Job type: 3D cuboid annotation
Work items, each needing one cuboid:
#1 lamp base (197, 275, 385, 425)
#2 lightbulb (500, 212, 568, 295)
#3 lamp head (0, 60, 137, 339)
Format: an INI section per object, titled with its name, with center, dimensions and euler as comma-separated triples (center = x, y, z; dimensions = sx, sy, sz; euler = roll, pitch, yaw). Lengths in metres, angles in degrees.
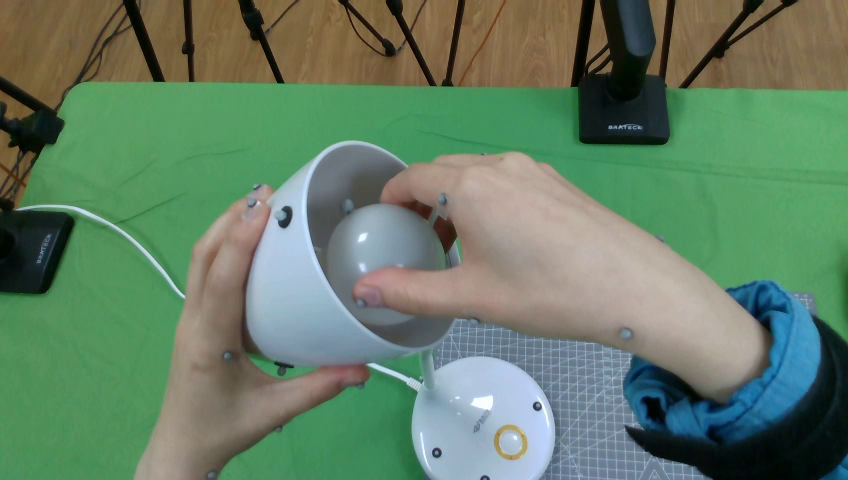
[lamp base]
center = -0.132, 0.093, 0.574
dimensions = 0.179, 0.181, 0.160
euler = 7, 74, 2
[lightbulb]
center = 0.117, 0.012, 0.675
dimensions = 0.059, 0.060, 0.106
euler = -24, 62, -8
[lamp head]
center = -0.199, -0.003, 0.259
dimensions = 0.113, 0.122, 0.111
euler = 21, 58, -38
